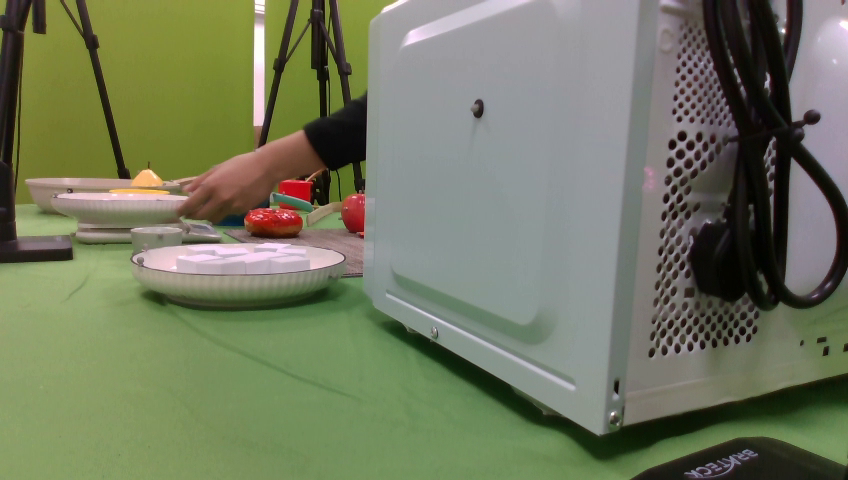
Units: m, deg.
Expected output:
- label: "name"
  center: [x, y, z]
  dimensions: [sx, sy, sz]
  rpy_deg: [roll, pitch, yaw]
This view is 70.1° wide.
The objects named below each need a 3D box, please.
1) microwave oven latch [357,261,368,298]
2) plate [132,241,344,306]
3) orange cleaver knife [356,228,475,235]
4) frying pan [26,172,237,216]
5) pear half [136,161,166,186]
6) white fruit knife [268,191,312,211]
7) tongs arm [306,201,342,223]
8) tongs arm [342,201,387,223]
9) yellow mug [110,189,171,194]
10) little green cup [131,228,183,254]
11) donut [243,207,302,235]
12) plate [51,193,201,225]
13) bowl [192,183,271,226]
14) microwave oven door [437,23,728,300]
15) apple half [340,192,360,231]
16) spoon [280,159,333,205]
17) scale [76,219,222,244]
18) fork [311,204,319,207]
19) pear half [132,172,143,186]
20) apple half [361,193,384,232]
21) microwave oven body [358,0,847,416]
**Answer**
- label: "microwave oven latch"
  center: [-0.019, 0.033, 0.530]
  dimensions: [0.079, 0.029, 0.030]
  rpy_deg: [-1, 7, -26]
- label: "plate"
  center: [-0.187, 0.033, 0.625]
  dimensions: [0.208, 0.039, 0.207]
  rpy_deg: [2, 7, 0]
- label: "orange cleaver knife"
  center: [-0.017, -0.015, 1.080]
  dimensions: [0.211, 0.012, 0.077]
  rpy_deg: [0, 2, -3]
- label: "frying pan"
  center: [-0.624, -0.118, 1.387]
  dimensions: [0.305, 0.102, 0.490]
  rpy_deg: [8, 17, 32]
- label: "pear half"
  center: [-0.602, -0.120, 1.354]
  dimensions: [0.056, 0.110, 0.076]
  rpy_deg: [4, 11, 6]
- label: "white fruit knife"
  center: [-0.364, -0.105, 1.464]
  dimensions: [0.208, 0.027, 0.016]
  rpy_deg: [15, 0, -34]
- label: "tongs arm"
  center: [-0.233, -0.068, 1.416]
  dimensions: [0.028, 0.028, 0.387]
  rpy_deg: [-5, 7, 1]
- label: "tongs arm"
  center: [-0.148, -0.069, 1.430]
  dimensions: [0.051, 0.026, 0.383]
  rpy_deg: [-3, 7, -14]
- label: "yellow mug"
  center: [-0.519, -0.055, 1.080]
  dimensions: [0.099, 0.064, 0.131]
  rpy_deg: [7, 10, 26]
- label: "little green cup"
  center: [-0.342, 0.006, 0.779]
  dimensions: [0.061, 0.038, 0.061]
  rpy_deg: [2, 8, 0]
- label: "donut"
  center: [-0.261, -0.032, 1.043]
  dimensions: [0.099, 0.048, 0.099]
  rpy_deg: [4, 9, 0]
- label: "plate"
  center: [-0.460, -0.050, 0.945]
  dimensions: [0.209, 0.038, 0.209]
  rpy_deg: [2, 7, 0]
- label: "bowl"
  center: [-0.382, -0.071, 1.202]
  dimensions: [0.151, 0.077, 0.151]
  rpy_deg: [3, 7, 0]
- label: "microwave oven door"
  center: [0.181, -0.073, 0.621]
  dimensions: [0.358, 0.243, 0.039]
  rpy_deg: [-2, 8, -29]
- label: "apple half"
  center: [-0.130, -0.054, 1.143]
  dimensions: [0.053, 0.074, 0.081]
  rpy_deg: [0, 10, 12]
- label: "spoon"
  center: [-0.317, -0.159, 1.639]
  dimensions: [0.194, 0.022, 0.041]
  rpy_deg: [-49, 31, -20]
- label: "scale"
  center: [-0.434, -0.019, 0.963]
  dimensions: [0.202, 0.031, 0.148]
  rpy_deg: [-1, 9, -26]
- label: "fork"
  center: [-0.356, -0.105, 1.526]
  dimensions: [0.208, 0.018, 0.028]
  rpy_deg: [16, -6, -41]
- label: "pear half"
  center: [-0.638, -0.113, 1.361]
  dimensions: [0.031, 0.088, 0.070]
  rpy_deg: [5, 11, 4]
- label: "apple half"
  center: [-0.092, -0.053, 1.136]
  dimensions: [0.033, 0.081, 0.081]
  rpy_deg: [0, 7, 13]
- label: "microwave oven body"
  center: [0.211, -0.047, 0.474]
  dimensions: [0.444, 0.260, 0.324]
  rpy_deg: [-1, 7, -28]
